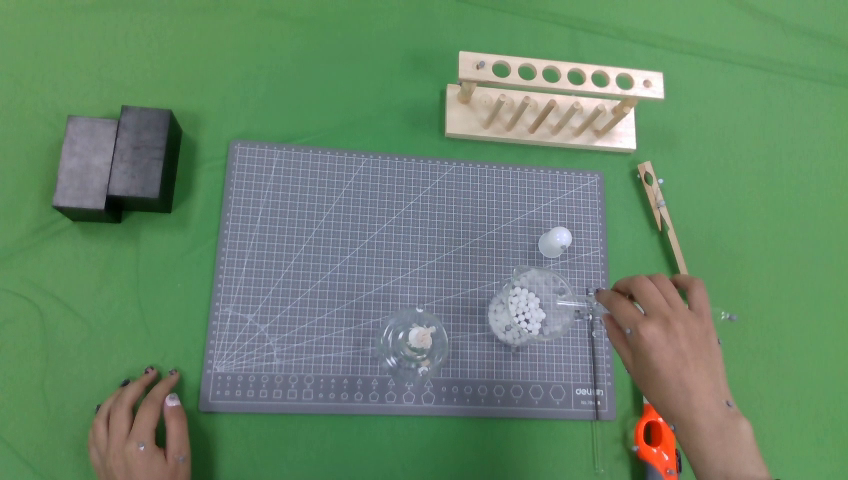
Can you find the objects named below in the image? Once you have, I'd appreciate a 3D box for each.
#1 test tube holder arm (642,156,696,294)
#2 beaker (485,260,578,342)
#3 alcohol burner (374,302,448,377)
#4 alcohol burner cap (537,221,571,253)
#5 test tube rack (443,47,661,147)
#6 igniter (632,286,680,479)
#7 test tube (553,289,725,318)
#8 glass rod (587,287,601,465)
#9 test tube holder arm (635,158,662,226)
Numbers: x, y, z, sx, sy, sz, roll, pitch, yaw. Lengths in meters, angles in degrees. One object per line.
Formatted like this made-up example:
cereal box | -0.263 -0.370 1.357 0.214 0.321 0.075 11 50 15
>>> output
test tube holder arm | 0.300 -0.019 0.745 0.013 0.015 0.177 -22 79 21
beaker | 0.108 0.068 0.650 0.074 0.100 0.083 -29 81 -15
alcohol burner | -0.011 0.099 0.616 0.078 0.119 0.077 2 73 -8
alcohol burner cap | 0.154 -0.006 0.705 0.034 0.048 0.033 2 76 -8
test tube rack | 0.149 -0.167 0.724 0.243 0.085 0.066 3 75 -8
igniter | 0.259 0.189 0.685 0.057 0.025 0.275 7 75 -18
test tube | 0.196 0.058 0.561 0.150 0.017 0.017 3 74 16
glass rod | 0.193 0.151 0.690 0.008 0.008 0.198 3 76 -8
test tube holder arm | 0.282 -0.060 0.754 0.010 0.015 0.087 -20 79 21
